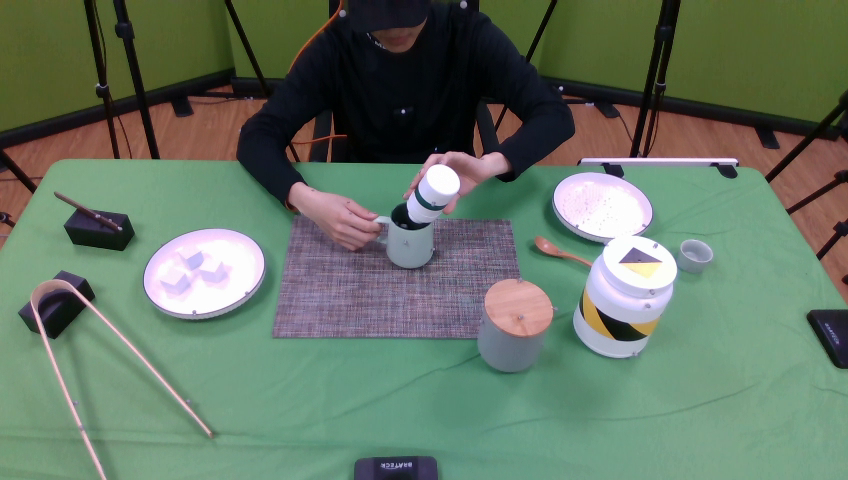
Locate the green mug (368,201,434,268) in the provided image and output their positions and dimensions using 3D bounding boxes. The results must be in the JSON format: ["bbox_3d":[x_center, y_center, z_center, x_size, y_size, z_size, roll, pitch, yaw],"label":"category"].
[{"bbox_3d":[-0.043,-0.011,1.140,0.125,0.105,0.092,7,47,3],"label":"green mug"}]

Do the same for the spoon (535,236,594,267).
[{"bbox_3d":[0.303,0.040,1.178,0.193,0.022,0.041,25,30,19],"label":"spoon"}]

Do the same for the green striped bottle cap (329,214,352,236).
[{"bbox_3d":[-0.167,-0.030,1.214,0.044,0.020,0.044,1,51,-1],"label":"green striped bottle cap"}]

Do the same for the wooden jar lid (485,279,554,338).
[{"bbox_3d":[0.147,0.108,0.940,0.108,0.021,0.107,4,47,-4],"label":"wooden jar lid"}]

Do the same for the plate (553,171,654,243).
[{"bbox_3d":[0.373,-0.066,1.275,0.209,0.038,0.208,2,46,-2],"label":"plate"}]

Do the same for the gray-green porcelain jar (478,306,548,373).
[{"bbox_3d":[0.144,0.148,0.989,0.106,0.127,0.105,2,50,-2],"label":"gray-green porcelain jar"}]

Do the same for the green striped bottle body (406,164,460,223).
[{"bbox_3d":[0.011,-0.075,1.051,0.063,0.119,0.063,12,58,-19],"label":"green striped bottle body"}]

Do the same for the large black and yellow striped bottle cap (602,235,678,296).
[{"bbox_3d":[0.340,0.037,0.955,0.115,0.019,0.114,2,47,-1],"label":"large black and yellow striped bottle cap"}]

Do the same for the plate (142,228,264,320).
[{"bbox_3d":[-0.394,0.064,1.095,0.208,0.039,0.206,2,46,-2],"label":"plate"}]

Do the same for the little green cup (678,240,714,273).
[{"bbox_3d":[0.530,0.033,1.190,0.061,0.039,0.061,2,46,-1],"label":"little green cup"}]

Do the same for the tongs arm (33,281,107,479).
[{"bbox_3d":[-0.517,0.214,0.910,0.051,0.026,0.383,-28,63,-27],"label":"tongs arm"}]

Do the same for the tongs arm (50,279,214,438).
[{"bbox_3d":[-0.459,0.178,0.949,0.386,0.028,0.028,37,60,17],"label":"tongs arm"}]

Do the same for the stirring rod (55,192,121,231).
[{"bbox_3d":[-0.632,-0.055,1.138,0.175,0.014,0.006,24,50,19],"label":"stirring rod"}]

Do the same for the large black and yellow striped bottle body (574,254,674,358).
[{"bbox_3d":[0.335,0.096,1.014,0.131,0.185,0.130,2,46,-2],"label":"large black and yellow striped bottle body"}]
